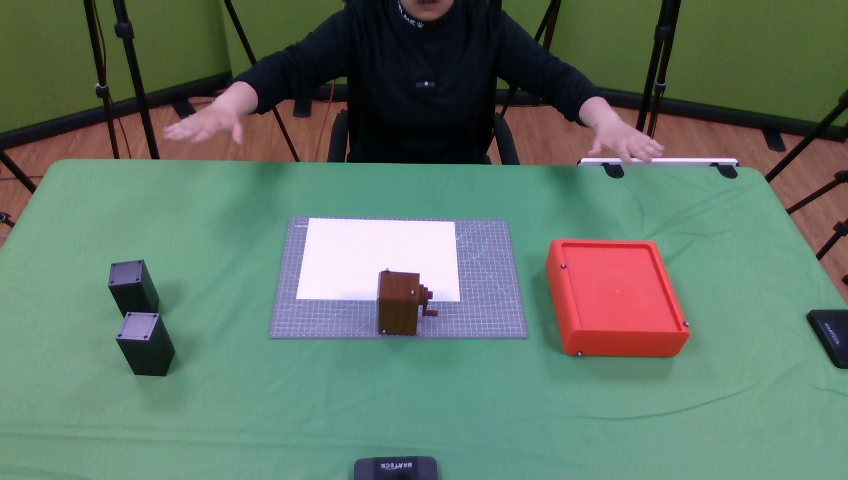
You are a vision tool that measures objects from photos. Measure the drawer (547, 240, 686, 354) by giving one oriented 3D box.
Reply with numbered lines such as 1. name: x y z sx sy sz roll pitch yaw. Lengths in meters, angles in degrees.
1. drawer: 0.336 0.098 1.087 0.194 0.073 0.210 2 46 -3

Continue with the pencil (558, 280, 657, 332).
1. pencil: 0.334 0.121 1.105 0.193 0.012 0.012 27 50 14

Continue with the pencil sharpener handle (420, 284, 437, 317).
1. pencil sharpener handle: 0.009 0.104 1.017 0.030 0.068 0.036 3 39 -2

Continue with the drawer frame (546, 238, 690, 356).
1. drawer frame: 0.337 0.098 1.084 0.202 0.083 0.212 1 46 -4

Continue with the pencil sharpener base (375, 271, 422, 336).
1. pencil sharpener base: -0.043 0.109 1.025 0.077 0.107 0.061 3 45 -2
